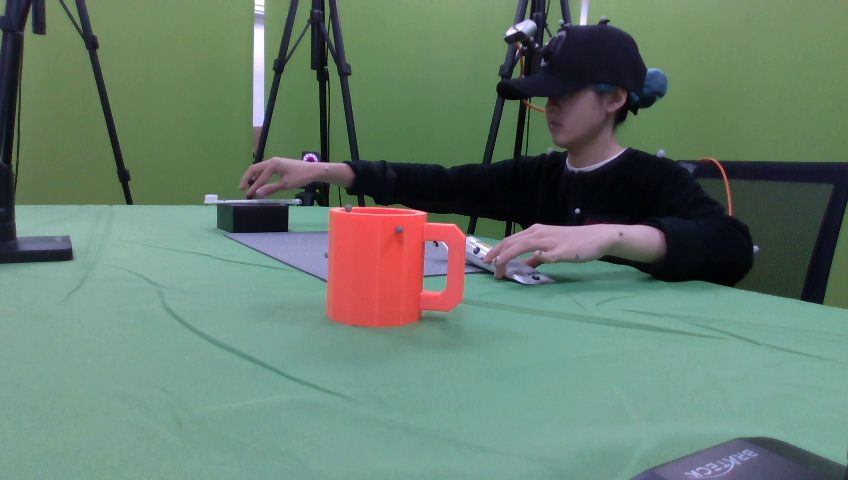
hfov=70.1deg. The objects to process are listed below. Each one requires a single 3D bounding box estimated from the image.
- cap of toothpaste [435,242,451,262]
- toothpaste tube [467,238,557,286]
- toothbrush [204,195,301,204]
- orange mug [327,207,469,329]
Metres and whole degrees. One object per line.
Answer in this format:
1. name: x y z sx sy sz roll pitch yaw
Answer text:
1. cap of toothpaste: 0.030 0.013 0.851 0.011 0.037 0.037 -33 26 -28
2. toothpaste tube: 0.095 0.030 0.789 0.055 0.034 0.164 -7 20 -36
3. toothbrush: -0.314 -0.074 1.120 0.183 0.016 0.014 -2 6 -37
4. orange mug: -0.024 0.021 0.535 0.126 0.100 0.083 -1 6 8
